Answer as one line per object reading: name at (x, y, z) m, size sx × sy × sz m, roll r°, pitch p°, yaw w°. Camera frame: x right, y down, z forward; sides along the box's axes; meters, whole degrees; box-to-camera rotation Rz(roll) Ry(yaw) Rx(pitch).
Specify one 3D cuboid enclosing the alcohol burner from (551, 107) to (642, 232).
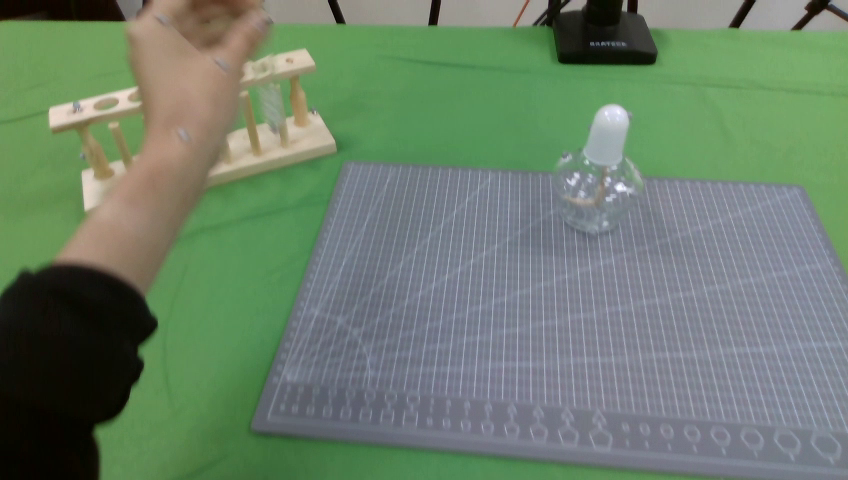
alcohol burner at (0.150, -0.064, 0.519) m, size 0.078 × 0.120 × 0.077 m, roll 0°, pitch 46°, yaw 0°

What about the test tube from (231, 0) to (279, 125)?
test tube at (-0.116, -0.141, 0.402) m, size 0.017 × 0.151 × 0.017 m, roll 0°, pitch 45°, yaw 0°

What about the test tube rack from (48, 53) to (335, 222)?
test tube rack at (-0.218, -0.103, 0.593) m, size 0.243 × 0.086 × 0.066 m, roll -19°, pitch 47°, yaw -17°

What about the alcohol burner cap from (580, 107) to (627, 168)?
alcohol burner cap at (0.150, -0.087, 0.498) m, size 0.034 × 0.048 × 0.033 m, roll 1°, pitch 44°, yaw -1°
